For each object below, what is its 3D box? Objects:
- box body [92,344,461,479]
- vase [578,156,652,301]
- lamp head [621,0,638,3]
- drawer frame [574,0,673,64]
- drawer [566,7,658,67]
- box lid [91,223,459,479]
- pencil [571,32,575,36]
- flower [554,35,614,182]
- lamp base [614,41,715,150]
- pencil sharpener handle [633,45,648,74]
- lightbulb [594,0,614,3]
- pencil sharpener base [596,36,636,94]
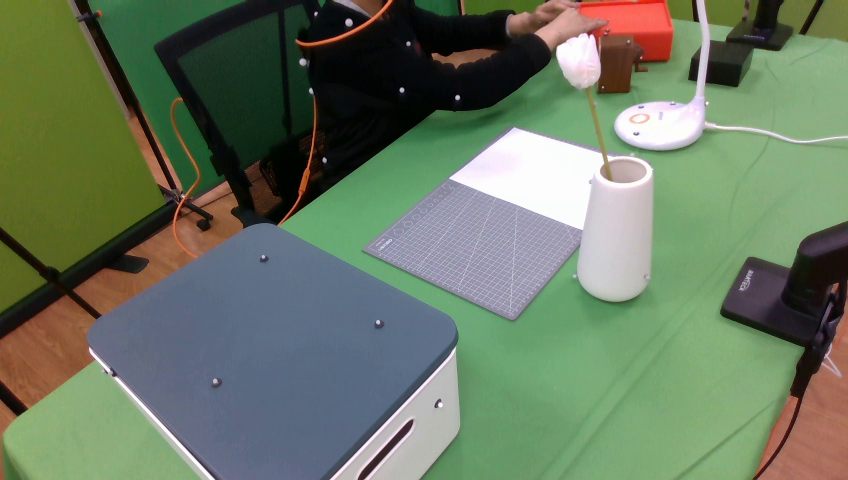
[{"bbox_3d":[-0.162,0.170,0.708,0.361,0.161,0.255,25,50,34],"label":"box body"},{"bbox_3d":[0.261,-0.011,0.812,0.098,0.201,0.097,-4,40,4],"label":"vase"},{"bbox_3d":[0.319,-0.453,0.962,0.113,0.123,0.112,20,33,-13],"label":"lamp head"},{"bbox_3d":[0.463,-0.493,1.435,0.213,0.083,0.201,1,40,12],"label":"drawer frame"},{"bbox_3d":[0.447,-0.488,1.448,0.211,0.073,0.194,5,41,9],"label":"drawer"},{"bbox_3d":[-0.174,0.103,0.666,0.368,0.015,0.264,24,49,35],"label":"box lid"},{"bbox_3d":[0.416,-0.487,1.451,0.012,0.012,0.192,-25,32,-18],"label":"pencil"},{"bbox_3d":[0.237,-0.083,0.774,0.044,0.363,0.038,-22,26,7],"label":"flower"},{"bbox_3d":[0.449,-0.277,1.106,0.179,0.181,0.160,1,41,9],"label":"lamp base"},{"bbox_3d":[0.454,-0.378,1.262,0.030,0.068,0.036,2,47,13],"label":"pencil sharpener handle"},{"bbox_3d":[0.305,-0.437,0.977,0.060,0.107,0.059,12,45,-11],"label":"lightbulb"},{"bbox_3d":[0.405,-0.369,1.280,0.076,0.107,0.061,2,41,13],"label":"pencil sharpener base"}]
